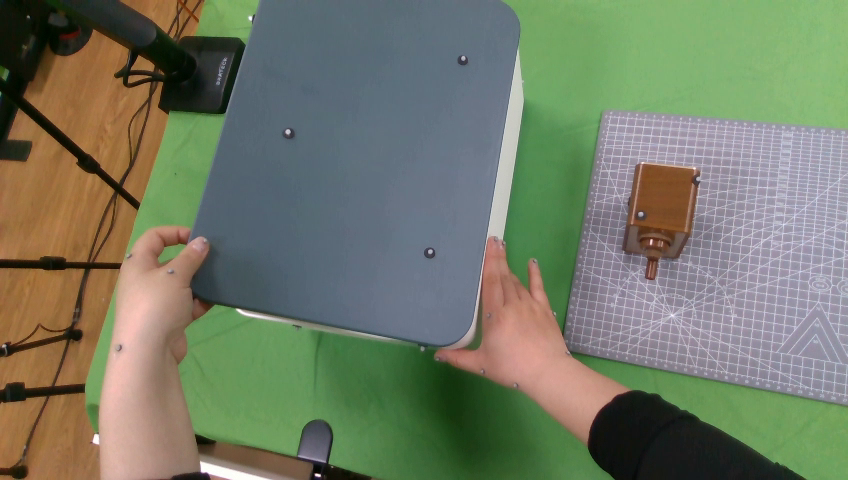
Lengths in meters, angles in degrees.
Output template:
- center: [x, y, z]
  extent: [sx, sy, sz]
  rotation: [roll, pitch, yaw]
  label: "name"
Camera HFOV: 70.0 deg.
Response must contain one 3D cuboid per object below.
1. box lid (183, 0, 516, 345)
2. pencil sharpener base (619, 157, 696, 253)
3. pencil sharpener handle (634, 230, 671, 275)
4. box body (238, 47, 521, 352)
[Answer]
- center: [-0.056, -0.101, 0.582]
  extent: [0.264, 0.015, 0.369]
  rotation: [12, 76, -7]
  label: "box lid"
- center: [0.245, -0.031, 0.644]
  extent: [0.061, 0.108, 0.076]
  rotation: [9, 78, 17]
  label: "pencil sharpener base"
- center: [0.233, 0.015, 0.622]
  extent: [0.036, 0.068, 0.030]
  rotation: [7, 77, 25]
  label: "pencil sharpener handle"
- center: [-0.035, -0.064, 0.702]
  extent: [0.253, 0.161, 0.362]
  rotation: [6, 76, 16]
  label: "box body"
